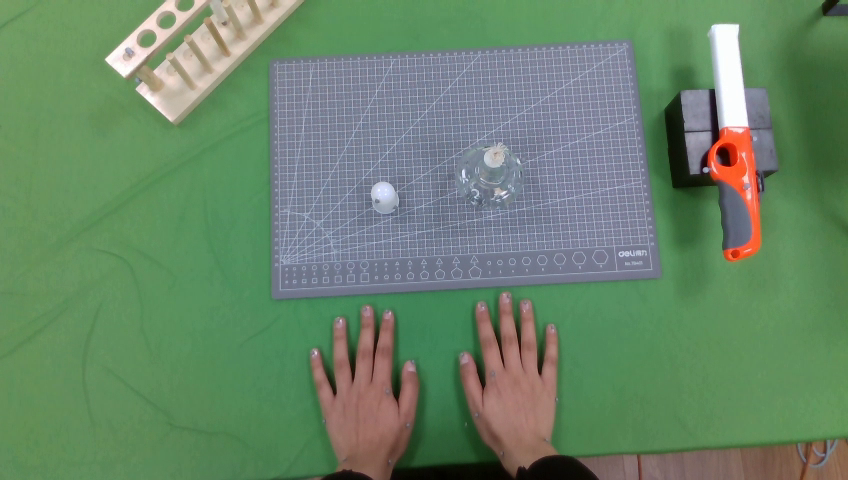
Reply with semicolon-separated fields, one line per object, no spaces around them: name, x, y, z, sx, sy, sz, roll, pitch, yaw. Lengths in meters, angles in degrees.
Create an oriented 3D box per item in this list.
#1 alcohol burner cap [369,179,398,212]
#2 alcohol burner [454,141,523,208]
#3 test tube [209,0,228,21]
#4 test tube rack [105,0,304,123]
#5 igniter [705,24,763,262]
alcohol burner cap;-0.047;-0.053;0.697;0.034;0.048;0.033;0;79;2
alcohol burner;0.072;-0.077;0.665;0.078;0.119;0.077;0;77;-1
test tube;-0.248;-0.295;0.674;0.017;0.151;0.017;0;74;1
test tube rack;-0.246;-0.259;0.717;0.066;0.085;0.242;41;82;8
igniter;0.339;-0.111;0.670;0.057;0.025;0.275;1;77;4
